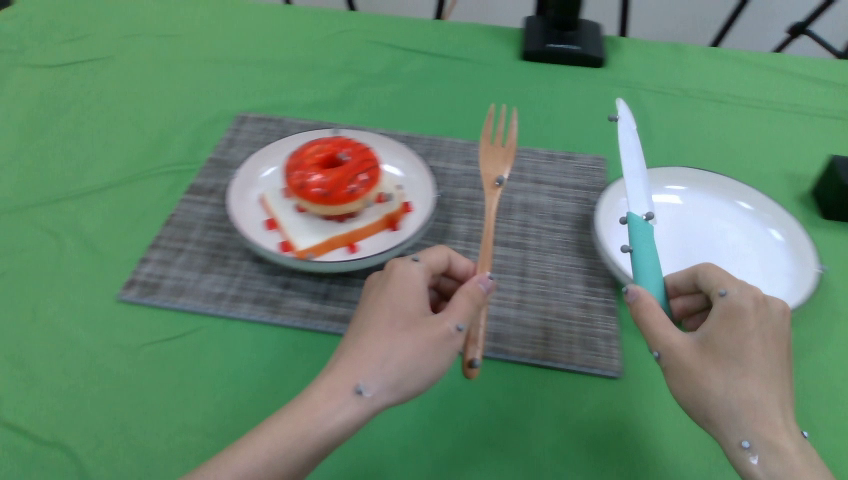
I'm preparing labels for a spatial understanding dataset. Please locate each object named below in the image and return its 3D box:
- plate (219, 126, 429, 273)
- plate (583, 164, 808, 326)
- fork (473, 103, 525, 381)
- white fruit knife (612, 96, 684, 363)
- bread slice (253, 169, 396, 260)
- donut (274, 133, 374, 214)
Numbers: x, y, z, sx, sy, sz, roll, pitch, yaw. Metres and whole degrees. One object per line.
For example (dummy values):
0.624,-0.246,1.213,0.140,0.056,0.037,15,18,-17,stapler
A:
-0.100,-0.042,0.620,0.209,0.038,0.207,1,46,-1,plate
0.259,0.004,0.597,0.208,0.039,0.205,2,46,-1,plate
0.051,-0.005,0.432,0.028,0.019,0.206,-4,66,35,fork
0.158,-0.014,0.445,0.027,0.016,0.206,0,73,-15,white fruit knife
-0.097,-0.037,0.619,0.132,0.019,0.104,-24,53,-22,bread slice
-0.098,-0.066,0.594,0.099,0.048,0.098,1,46,-1,donut
